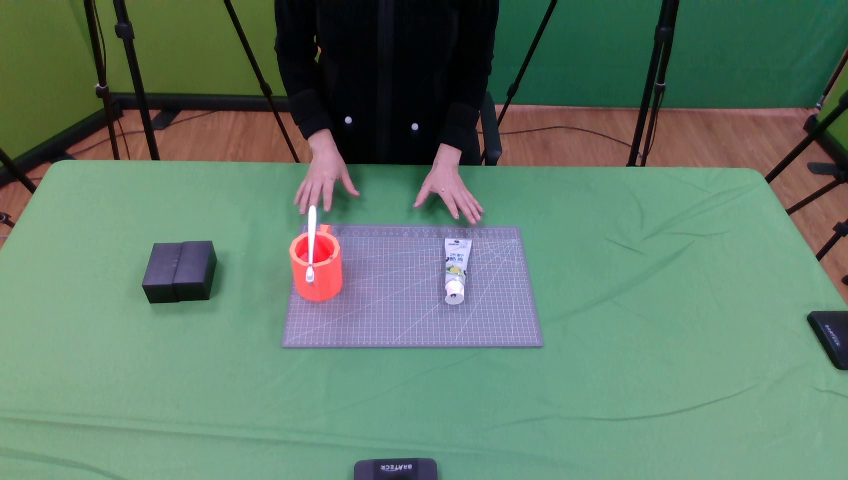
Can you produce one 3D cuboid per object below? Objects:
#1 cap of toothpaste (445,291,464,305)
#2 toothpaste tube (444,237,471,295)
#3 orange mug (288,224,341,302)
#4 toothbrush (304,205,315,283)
[{"bbox_3d":[0.054,0.103,1.088,0.037,0.037,0.011,-4,48,-7],"label":"cap of toothpaste"},{"bbox_3d":[0.061,0.049,1.149,0.055,0.034,0.164,9,42,-3],"label":"toothpaste tube"},{"bbox_3d":[-0.192,0.034,1.094,0.083,0.101,0.125,7,50,2],"label":"orange mug"},{"bbox_3d":[-0.199,0.001,1.052,0.014,0.017,0.180,-5,46,-3],"label":"toothbrush"}]
